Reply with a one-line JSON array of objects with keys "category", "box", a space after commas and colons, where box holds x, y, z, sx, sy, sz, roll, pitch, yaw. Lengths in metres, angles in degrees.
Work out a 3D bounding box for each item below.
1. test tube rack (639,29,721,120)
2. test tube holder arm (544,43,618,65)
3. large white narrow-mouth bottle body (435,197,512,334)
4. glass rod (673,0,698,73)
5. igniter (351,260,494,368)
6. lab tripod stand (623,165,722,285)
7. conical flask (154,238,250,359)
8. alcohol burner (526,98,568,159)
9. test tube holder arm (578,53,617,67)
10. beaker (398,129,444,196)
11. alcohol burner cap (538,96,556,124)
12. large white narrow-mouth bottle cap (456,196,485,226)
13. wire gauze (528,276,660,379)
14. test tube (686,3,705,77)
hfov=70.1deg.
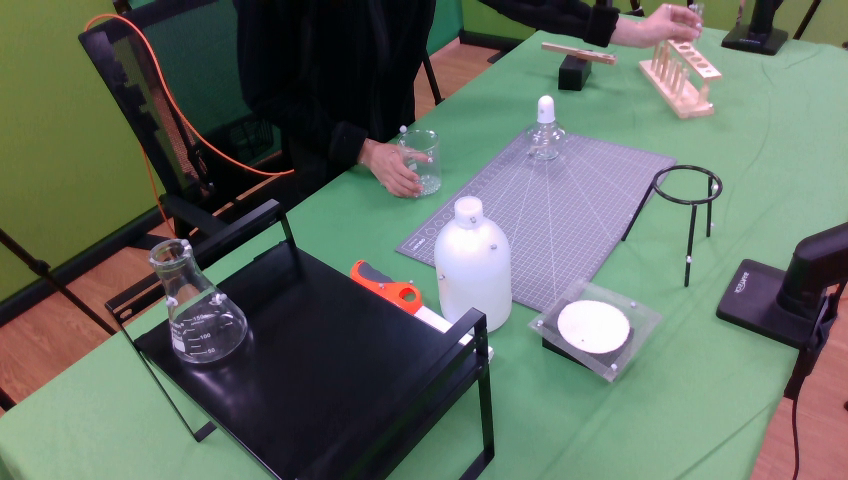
[{"category": "test tube rack", "box": [0.527, -0.351, 1.262, 0.067, 0.085, 0.241, -7, 40, 1]}, {"category": "test tube holder arm", "box": [0.345, -0.413, 1.341, 0.177, 0.015, 0.013, 26, 49, 32]}, {"category": "large white narrow-mouth bottle body", "box": [0.066, 0.028, 0.805, 0.102, 0.195, 0.101, -4, 40, 4]}, {"category": "glass rod", "box": [0.541, -0.430, 1.250, 0.008, 0.200, 0.008, 1, 43, -1]}, {"category": "igniter", "box": [-0.013, 0.098, 0.864, 0.274, 0.025, 0.057, 30, 66, 36]}, {"category": "lab tripod stand", "box": [0.365, -0.030, 0.874, 0.148, 0.132, 0.147, -6, 41, 6]}, {"category": "conical flask", "box": [-0.225, 0.055, 0.597, 0.075, 0.122, 0.075, -5, 41, 4]}, {"category": "alcohol burner", "box": [0.228, -0.210, 1.118, 0.078, 0.119, 0.077, -5, 43, 5]}, {"category": "test tube holder arm", "box": [0.376, -0.394, 1.314, 0.087, 0.015, 0.010, 27, 49, 33]}, {"category": "beaker", "box": [-0.001, -0.138, 1.086, 0.073, 0.101, 0.084, 27, 51, 33]}, {"category": "alcohol burner cap", "box": [0.222, -0.237, 1.095, 0.034, 0.048, 0.033, -6, 35, 5]}, {"category": "large white narrow-mouth bottle cap", "box": [0.058, -0.036, 0.749, 0.038, 0.024, 0.037, -4, 40, 4]}, {"category": "wire gauze", "box": [0.214, 0.103, 0.763, 0.124, 0.011, 0.122, 30, 53, 35]}, {"category": "test tube", "box": [0.537, -0.395, 1.201, 0.017, 0.151, 0.017, -5, 42, 5]}]
